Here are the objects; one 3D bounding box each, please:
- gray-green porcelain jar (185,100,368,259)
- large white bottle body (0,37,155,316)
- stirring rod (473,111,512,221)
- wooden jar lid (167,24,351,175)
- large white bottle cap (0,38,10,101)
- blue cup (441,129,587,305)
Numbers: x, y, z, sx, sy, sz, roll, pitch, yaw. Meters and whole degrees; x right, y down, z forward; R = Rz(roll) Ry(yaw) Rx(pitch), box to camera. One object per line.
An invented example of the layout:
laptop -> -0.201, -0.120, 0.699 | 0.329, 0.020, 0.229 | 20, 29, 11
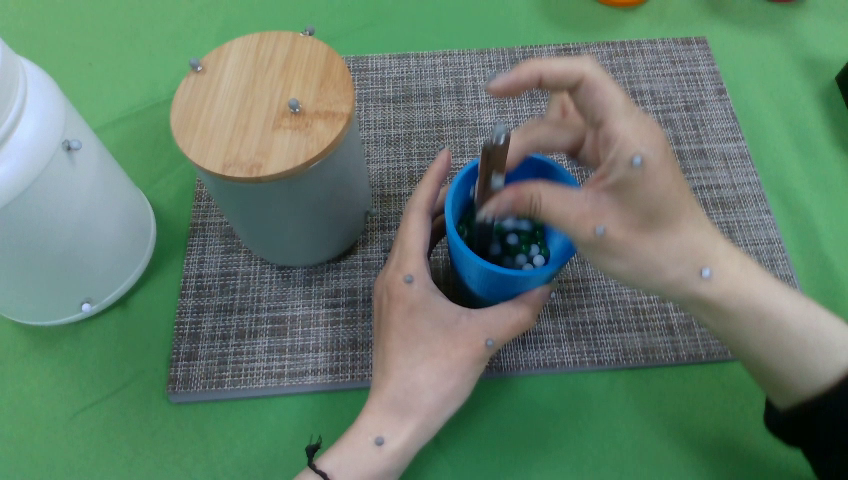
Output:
gray-green porcelain jar -> -0.095, -0.053, 0.418 | 0.106, 0.127, 0.105 | -1, 63, 1
large white bottle body -> -0.273, -0.041, 0.387 | 0.130, 0.186, 0.129 | -1, 63, 1
stirring rod -> 0.034, -0.022, 0.335 | 0.014, 0.177, 0.006 | -42, 75, -11
wooden jar lid -> -0.096, -0.083, 0.363 | 0.108, 0.021, 0.107 | -2, 64, 4
large white bottle cap -> -0.276, -0.079, 0.311 | 0.115, 0.018, 0.114 | 0, 63, 1
blue cup -> 0.051, -0.002, 0.395 | 0.093, 0.101, 0.092 | 1, 65, -1
